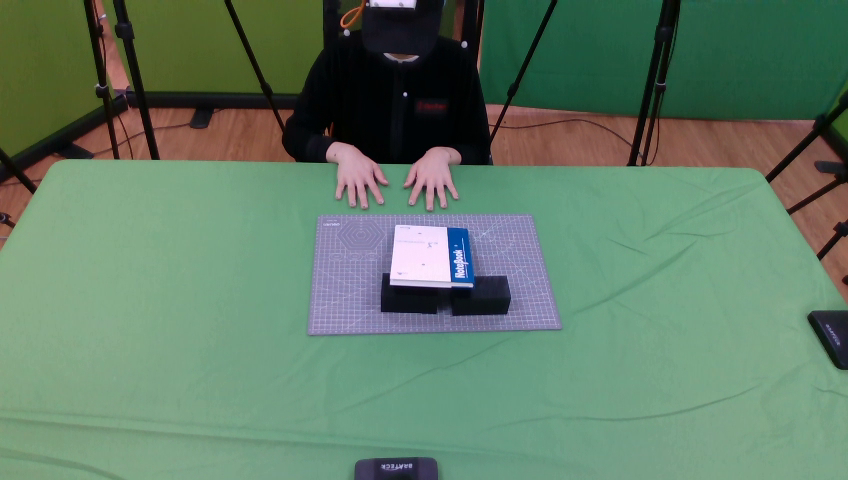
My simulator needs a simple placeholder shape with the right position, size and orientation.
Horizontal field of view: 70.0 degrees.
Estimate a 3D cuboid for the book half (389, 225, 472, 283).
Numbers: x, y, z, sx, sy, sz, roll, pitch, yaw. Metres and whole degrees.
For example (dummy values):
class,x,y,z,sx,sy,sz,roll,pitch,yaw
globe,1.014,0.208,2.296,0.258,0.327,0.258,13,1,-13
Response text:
class,x,y,z,sx,sy,sz,roll,pitch,yaw
book half,0.012,0.022,1.128,0.143,0.007,0.209,3,28,-1
